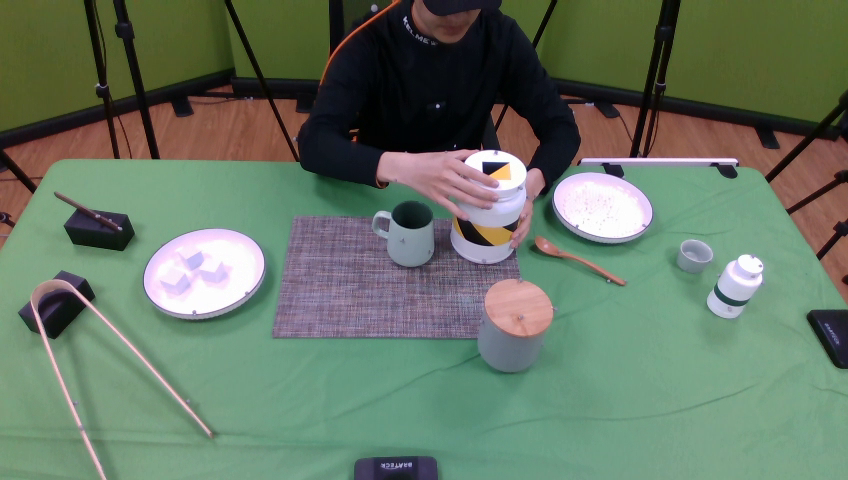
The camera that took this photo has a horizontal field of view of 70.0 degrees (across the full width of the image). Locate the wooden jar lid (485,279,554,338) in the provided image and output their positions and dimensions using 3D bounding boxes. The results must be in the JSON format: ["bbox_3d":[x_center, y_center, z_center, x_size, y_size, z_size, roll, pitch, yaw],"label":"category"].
[{"bbox_3d":[0.147,0.108,0.940,0.108,0.021,0.107,4,48,-5],"label":"wooden jar lid"}]

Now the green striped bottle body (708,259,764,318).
[{"bbox_3d":[0.563,0.081,1.089,0.063,0.120,0.063,2,46,-2],"label":"green striped bottle body"}]

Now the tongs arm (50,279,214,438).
[{"bbox_3d":[-0.459,0.178,0.949,0.386,0.028,0.028,37,60,17],"label":"tongs arm"}]

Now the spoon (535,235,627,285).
[{"bbox_3d":[0.304,0.040,1.178,0.193,0.022,0.041,26,35,20],"label":"spoon"}]

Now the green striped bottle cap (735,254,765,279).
[{"bbox_3d":[0.566,0.046,1.051,0.044,0.020,0.044,0,45,0],"label":"green striped bottle cap"}]

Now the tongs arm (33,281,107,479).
[{"bbox_3d":[-0.517,0.214,0.910,0.051,0.026,0.383,-29,63,-27],"label":"tongs arm"}]

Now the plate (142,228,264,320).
[{"bbox_3d":[-0.394,0.064,1.095,0.208,0.039,0.206,2,46,-2],"label":"plate"}]

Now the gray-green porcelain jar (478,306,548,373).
[{"bbox_3d":[0.144,0.148,0.989,0.106,0.127,0.105,2,50,-2],"label":"gray-green porcelain jar"}]

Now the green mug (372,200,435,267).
[{"bbox_3d":[-0.040,-0.015,1.145,0.125,0.105,0.092,17,47,12],"label":"green mug"}]

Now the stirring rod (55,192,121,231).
[{"bbox_3d":[-0.632,-0.055,1.138,0.175,0.014,0.006,24,50,19],"label":"stirring rod"}]

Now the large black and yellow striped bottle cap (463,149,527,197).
[{"bbox_3d":[0.127,-0.121,1.081,0.115,0.019,0.114,3,47,-3],"label":"large black and yellow striped bottle cap"}]

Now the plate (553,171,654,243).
[{"bbox_3d":[0.373,-0.066,1.274,0.209,0.038,0.208,2,46,-2],"label":"plate"}]

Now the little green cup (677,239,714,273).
[{"bbox_3d":[0.530,0.033,1.190,0.061,0.039,0.061,2,47,-2],"label":"little green cup"}]

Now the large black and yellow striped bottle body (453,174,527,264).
[{"bbox_3d":[0.125,-0.060,1.146,0.131,0.185,0.130,1,44,-1],"label":"large black and yellow striped bottle body"}]
